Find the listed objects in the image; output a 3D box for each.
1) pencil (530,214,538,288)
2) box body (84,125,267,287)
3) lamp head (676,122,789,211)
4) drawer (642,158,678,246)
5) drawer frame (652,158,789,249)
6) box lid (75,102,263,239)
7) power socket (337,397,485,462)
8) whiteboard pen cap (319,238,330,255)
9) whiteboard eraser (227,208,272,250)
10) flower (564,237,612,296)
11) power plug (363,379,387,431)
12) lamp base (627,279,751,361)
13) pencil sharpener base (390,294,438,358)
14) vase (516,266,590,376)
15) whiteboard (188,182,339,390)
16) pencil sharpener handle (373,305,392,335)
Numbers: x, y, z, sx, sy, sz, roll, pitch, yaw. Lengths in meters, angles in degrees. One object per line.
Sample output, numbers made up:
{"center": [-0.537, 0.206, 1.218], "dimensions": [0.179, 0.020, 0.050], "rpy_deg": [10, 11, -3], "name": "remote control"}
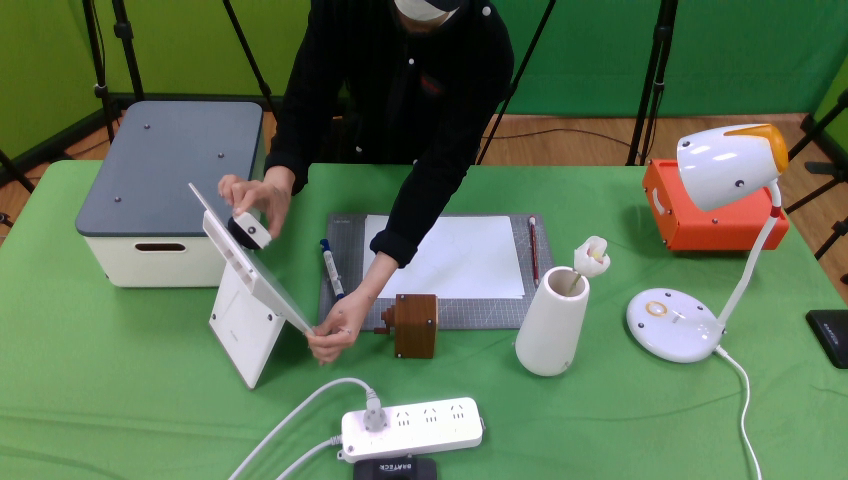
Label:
{"center": [0.218, 0.019, 1.201], "dimensions": [0.012, 0.012, 0.193], "rpy_deg": [5, 48, 1], "name": "pencil"}
{"center": [-0.446, -0.088, 1.150], "dimensions": [0.254, 0.161, 0.361], "rpy_deg": [-1, 46, -5], "name": "box body"}
{"center": [0.423, -0.104, 0.819], "dimensions": [0.122, 0.113, 0.112], "rpy_deg": [-13, 33, 40], "name": "lamp head"}
{"center": [0.565, -0.076, 1.211], "dimensions": [0.212, 0.073, 0.193], "rpy_deg": [2, 45, -2], "name": "drawer"}
{"center": [0.571, -0.075, 1.214], "dimensions": [0.214, 0.083, 0.200], "rpy_deg": [0, 46, -1], "name": "drawer frame"}
{"center": [-0.443, -0.138, 1.094], "dimensions": [0.263, 0.015, 0.369], "rpy_deg": [0, 47, -5], "name": "box lid"}
{"center": [-0.018, 0.285, 0.915], "dimensions": [0.227, 0.033, 0.071], "rpy_deg": [-5, 46, -8], "name": "power socket"}
{"center": [-0.191, 0.013, 1.163], "dimensions": [0.018, 0.018, 0.033], "rpy_deg": [-12, 49, -16], "name": "whiteboard pen cap"}
{"center": [-0.258, -0.015, 0.887], "dimensions": [0.042, 0.056, 0.112], "rpy_deg": [-45, 20, -9], "name": "whiteboard eraser"}
{"center": [0.206, 0.088, 0.893], "dimensions": [0.038, 0.363, 0.044], "rpy_deg": [-17, 67, -9], "name": "flower"}
{"center": [-0.072, 0.252, 0.910], "dimensions": [0.035, 0.053, 0.072], "rpy_deg": [3, 45, -1], "name": "power plug"}
{"center": [0.459, 0.100, 1.027], "dimensions": [0.178, 0.181, 0.160], "rpy_deg": [27, 51, 17], "name": "lamp base"}
{"center": [-0.018, 0.143, 1.000], "dimensions": [0.077, 0.107, 0.061], "rpy_deg": [1, 46, -2], "name": "pencil sharpener base"}
{"center": [0.208, 0.132, 0.964], "dimensions": [0.098, 0.201, 0.097], "rpy_deg": [3, 46, -3], "name": "vase"}
{"center": [-0.292, 0.096, 0.929], "dimensions": [0.144, 0.307, 0.216], "rpy_deg": [-38, 57, -10], "name": "whiteboard"}
{"center": [-0.068, 0.133, 0.989], "dimensions": [0.030, 0.068, 0.036], "rpy_deg": [1, 46, -2], "name": "pencil sharpener handle"}
